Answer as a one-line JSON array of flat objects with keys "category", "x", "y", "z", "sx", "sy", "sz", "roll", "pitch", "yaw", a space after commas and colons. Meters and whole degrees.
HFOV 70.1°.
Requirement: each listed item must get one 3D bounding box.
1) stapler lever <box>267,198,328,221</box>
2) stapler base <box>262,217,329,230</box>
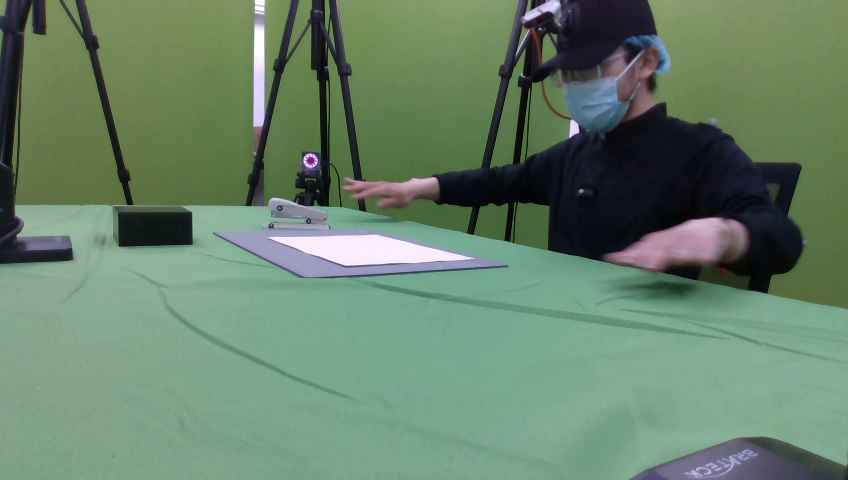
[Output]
[{"category": "stapler lever", "x": -0.250, "y": -0.061, "z": 1.198, "sx": 0.118, "sy": 0.040, "sz": 0.027, "roll": 3, "pitch": 10, "yaw": -8}, {"category": "stapler base", "x": -0.253, "y": -0.036, "z": 1.201, "sx": 0.131, "sy": 0.024, "sz": 0.041, "roll": 3, "pitch": 10, "yaw": -8}]
